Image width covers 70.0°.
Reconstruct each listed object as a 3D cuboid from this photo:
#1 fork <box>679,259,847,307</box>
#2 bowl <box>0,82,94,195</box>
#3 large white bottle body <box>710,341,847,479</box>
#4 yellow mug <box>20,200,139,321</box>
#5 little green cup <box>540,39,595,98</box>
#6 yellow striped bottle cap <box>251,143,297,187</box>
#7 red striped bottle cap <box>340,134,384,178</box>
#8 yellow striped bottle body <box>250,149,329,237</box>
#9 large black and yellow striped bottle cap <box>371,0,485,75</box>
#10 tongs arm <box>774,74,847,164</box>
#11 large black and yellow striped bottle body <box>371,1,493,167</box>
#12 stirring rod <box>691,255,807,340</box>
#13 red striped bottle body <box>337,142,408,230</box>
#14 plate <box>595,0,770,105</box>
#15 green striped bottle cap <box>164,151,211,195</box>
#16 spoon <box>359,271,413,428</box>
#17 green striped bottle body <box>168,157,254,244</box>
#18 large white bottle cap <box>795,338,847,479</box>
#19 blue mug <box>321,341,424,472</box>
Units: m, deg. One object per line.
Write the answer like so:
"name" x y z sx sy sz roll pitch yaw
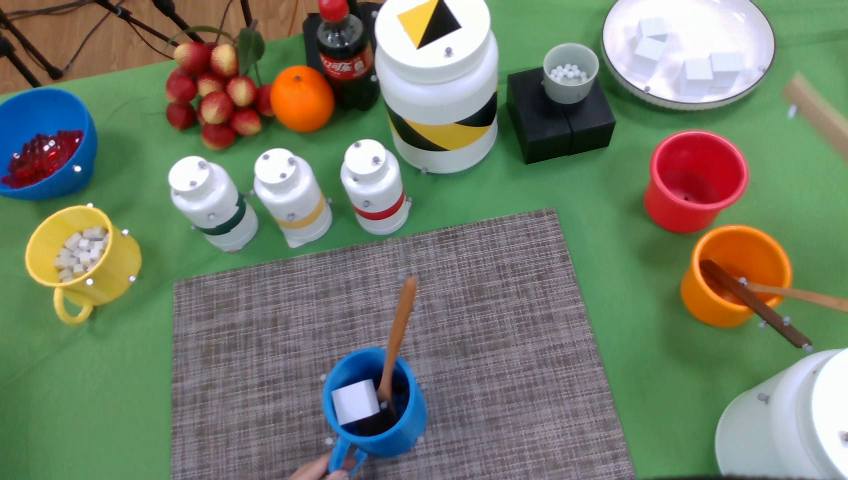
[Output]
"fork" 0.330 0.044 0.564 0.028 0.019 0.206 -37 22 -19
"bowl" -0.473 -0.111 0.753 0.151 0.077 0.150 -2 65 4
"large white bottle body" 0.328 0.158 0.492 0.130 0.186 0.129 -2 65 5
"yellow mug" -0.392 0.027 0.688 0.100 0.064 0.130 -2 66 4
"little green cup" 0.162 -0.195 0.696 0.061 0.039 0.061 -1 62 3
"yellow striped bottle cap" -0.155 -0.078 0.627 0.044 0.019 0.044 -2 66 4
"red striped bottle cap" -0.064 -0.087 0.621 0.044 0.018 0.044 -1 63 1
"yellow striped bottle body" -0.151 -0.056 0.673 0.063 0.121 0.062 -2 64 5
"large black and yellow striped bottle cap" 0.004 -0.215 0.603 0.115 0.019 0.114 -2 64 5
"tongs arm" 0.423 0.005 0.460 0.051 0.027 0.382 -28 70 -14
"large black and yellow striped bottle body" 0.012 -0.181 0.680 0.131 0.185 0.129 -2 65 5
"stirring rod" 0.301 0.049 0.573 0.014 0.006 0.175 -8 21 -2
"red striped bottle body" -0.057 -0.064 0.668 0.063 0.121 0.062 -3 64 7
"plate" 0.319 -0.251 0.764 0.209 0.038 0.207 -2 66 4
"green striped bottle cap" -0.246 -0.070 0.631 0.044 0.020 0.044 -1 66 2
"spoon" -0.031 0.109 0.542 0.041 0.195 0.021 27 37 22
"green striped bottle body" -0.240 -0.048 0.678 0.063 0.120 0.062 -2 65 4
"large white bottle cap" 0.320 0.121 0.417 0.115 0.018 0.114 -2 64 4
"blue mug" -0.053 0.163 0.567 0.082 0.107 0.116 26 70 17
